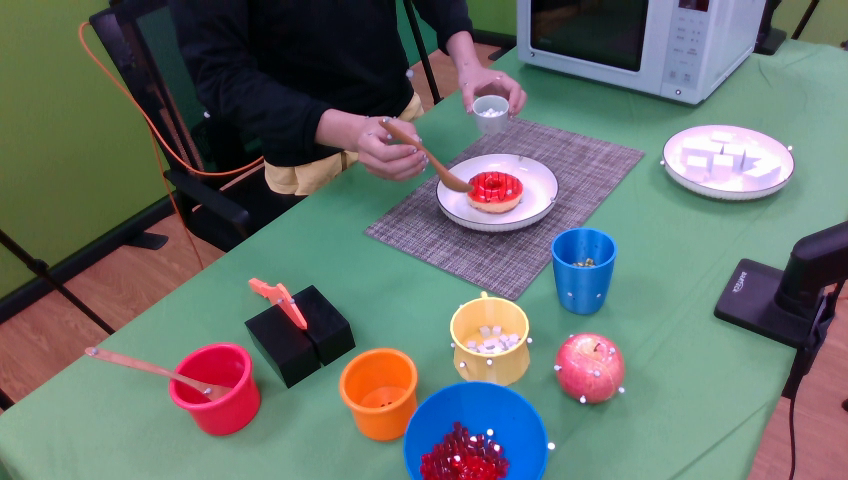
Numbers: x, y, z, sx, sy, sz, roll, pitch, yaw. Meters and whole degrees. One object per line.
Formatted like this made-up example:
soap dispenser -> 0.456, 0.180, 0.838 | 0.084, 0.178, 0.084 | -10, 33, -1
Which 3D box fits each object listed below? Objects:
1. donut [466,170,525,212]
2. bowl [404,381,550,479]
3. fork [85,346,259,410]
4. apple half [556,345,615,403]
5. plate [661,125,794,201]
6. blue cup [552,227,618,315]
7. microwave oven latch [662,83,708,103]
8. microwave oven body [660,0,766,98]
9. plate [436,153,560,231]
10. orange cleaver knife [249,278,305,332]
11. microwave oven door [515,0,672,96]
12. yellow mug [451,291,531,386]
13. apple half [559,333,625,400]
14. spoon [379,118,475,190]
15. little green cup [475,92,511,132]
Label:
donut -> 0.121, -0.084, 1.019 | 0.099, 0.048, 0.098 | -4, 38, 3
bowl -> 0.058, 0.235, 0.645 | 0.151, 0.077, 0.150 | -4, 39, 4
fork -> -0.298, 0.166, 0.727 | 0.209, 0.018, 0.028 | 28, 47, -23
apple half -> 0.181, 0.167, 0.709 | 0.080, 0.081, 0.033 | 29, 50, 35
plate -> 0.513, -0.128, 1.035 | 0.207, 0.039, 0.206 | -4, 40, 4
blue cup -> 0.218, 0.047, 0.825 | 0.092, 0.100, 0.092 | -6, 39, 5
microwave oven latch -> 0.517, -0.296, 1.204 | 0.078, 0.029, 0.030 | 27, 52, 35
microwave oven body -> 0.472, -0.513, 1.317 | 0.438, 0.261, 0.327 | 26, 51, 34
plate -> 0.125, -0.078, 1.029 | 0.209, 0.038, 0.208 | -4, 40, 4
orange cleaver knife -> -0.210, 0.089, 0.855 | 0.012, 0.077, 0.210 | -28, 15, -25
microwave oven door -> 0.344, -0.455, 1.259 | 0.353, 0.245, 0.039 | 26, 51, 33
yellow mug -> 0.086, 0.120, 0.786 | 0.100, 0.064, 0.130 | -7, 39, 1
apple half -> 0.209, 0.147, 0.730 | 0.080, 0.075, 0.053 | 26, 48, 38
spoon -> 0.006, -0.113, 0.813 | 0.041, 0.195, 0.021 | 4, 67, 44
little green cup -> 0.113, -0.213, 1.011 | 0.061, 0.039, 0.061 | 2, 63, -3
